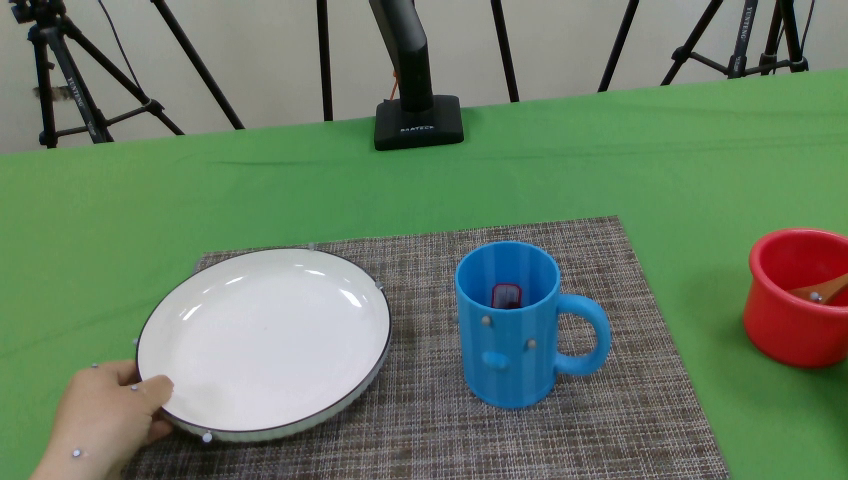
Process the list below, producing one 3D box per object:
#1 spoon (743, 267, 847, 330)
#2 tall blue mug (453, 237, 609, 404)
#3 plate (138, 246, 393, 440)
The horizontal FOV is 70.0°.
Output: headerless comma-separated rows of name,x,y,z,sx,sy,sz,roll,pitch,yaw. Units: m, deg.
spoon,0.331,0.020,0.449,0.022,0.194,0.041,33,43,-17
tall blue mug,0.080,0.061,0.468,0.107,0.109,0.077,-9,39,-2
plate,-0.130,0.084,0.519,0.208,0.039,0.205,0,39,0
